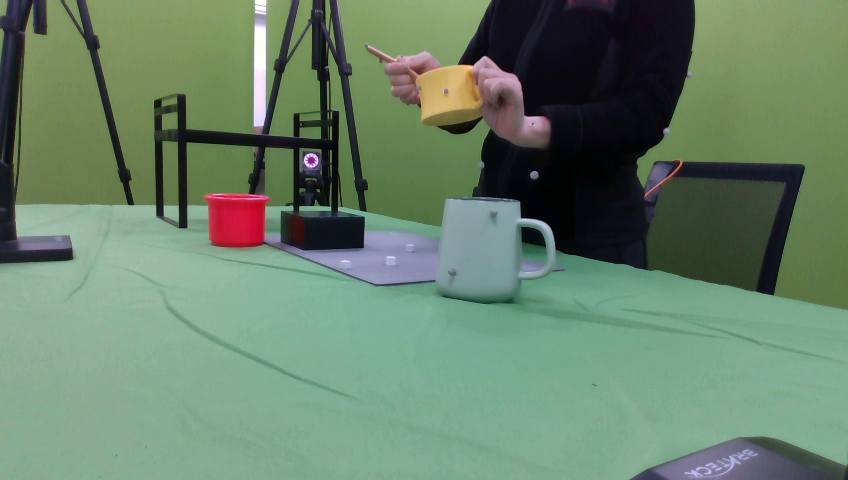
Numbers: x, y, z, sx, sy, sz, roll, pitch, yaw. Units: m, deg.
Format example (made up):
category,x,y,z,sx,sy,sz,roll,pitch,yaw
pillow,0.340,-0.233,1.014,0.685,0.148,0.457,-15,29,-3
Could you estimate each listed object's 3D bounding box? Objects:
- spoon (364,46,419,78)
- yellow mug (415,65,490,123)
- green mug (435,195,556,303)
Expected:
category,x,y,z,sx,sy,sz,roll,pitch,yaw
spoon,-0.016,-0.253,0.939,0.193,0.021,0.042,38,9,13
yellow mug,0.050,-0.221,0.906,0.100,0.064,0.130,-8,1,-41
green mug,0.074,0.009,0.624,0.125,0.105,0.093,5,7,23
